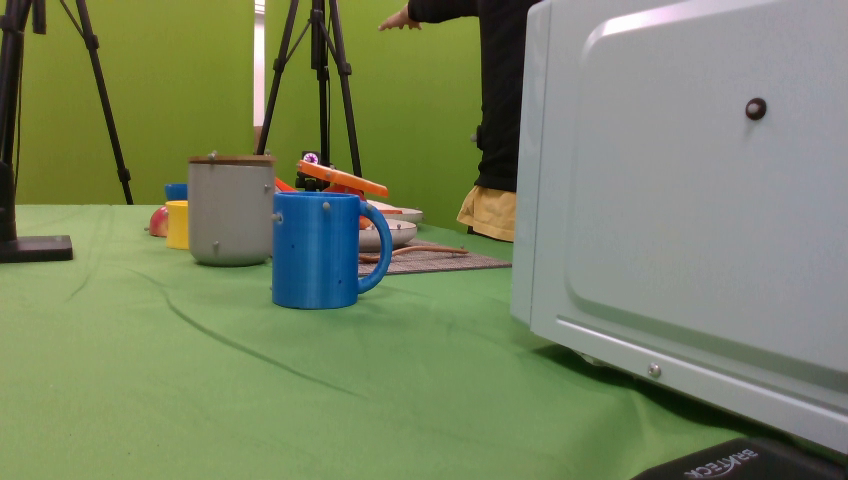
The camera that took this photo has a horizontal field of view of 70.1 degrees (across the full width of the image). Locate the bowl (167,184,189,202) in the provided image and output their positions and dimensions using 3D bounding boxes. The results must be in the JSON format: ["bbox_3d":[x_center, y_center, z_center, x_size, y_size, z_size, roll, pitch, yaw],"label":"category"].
[{"bbox_3d":[-0.408,-0.064,1.154,0.151,0.077,0.151,2,8,0],"label":"bowl"}]

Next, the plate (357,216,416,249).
[{"bbox_3d":[-0.116,-0.014,0.967,0.208,0.039,0.207,2,7,0],"label":"plate"}]

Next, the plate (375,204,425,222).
[{"bbox_3d":[-0.102,-0.053,1.299,0.209,0.038,0.209,2,8,0],"label":"plate"}]

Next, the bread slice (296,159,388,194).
[{"bbox_3d":[-0.132,-0.102,0.952,0.132,0.019,0.104,13,6,-36],"label":"bread slice"}]

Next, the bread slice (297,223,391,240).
[{"bbox_3d":[-0.121,-0.015,0.970,0.106,0.018,0.135,9,9,40],"label":"bread slice"}]

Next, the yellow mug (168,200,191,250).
[{"bbox_3d":[-0.320,-0.023,0.904,0.130,0.064,0.100,8,10,36],"label":"yellow mug"}]

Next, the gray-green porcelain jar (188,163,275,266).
[{"bbox_3d":[-0.246,-0.034,0.779,0.106,0.126,0.106,1,7,0],"label":"gray-green porcelain jar"}]

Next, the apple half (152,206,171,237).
[{"bbox_3d":[-0.415,-0.034,1.017,0.081,0.053,0.074,1,10,-8],"label":"apple half"}]

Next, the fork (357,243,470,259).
[{"bbox_3d":[-0.017,0.014,0.845,0.208,0.018,0.028,-5,-1,-35],"label":"fork"}]

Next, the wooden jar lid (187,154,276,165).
[{"bbox_3d":[-0.244,-0.097,0.771,0.108,0.020,0.108,-1,7,0],"label":"wooden jar lid"}]

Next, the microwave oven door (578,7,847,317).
[{"bbox_3d":[0.294,-0.067,0.570,0.358,0.243,0.039,-3,9,-31],"label":"microwave oven door"}]

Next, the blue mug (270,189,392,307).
[{"bbox_3d":[-0.090,0.005,0.588,0.117,0.106,0.082,1,7,-11],"label":"blue mug"}]

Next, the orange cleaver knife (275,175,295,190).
[{"bbox_3d":[-0.283,-0.087,1.343,0.212,0.077,0.012,23,-15,-41],"label":"orange cleaver knife"}]

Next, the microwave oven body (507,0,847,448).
[{"bbox_3d":[0.331,-0.042,0.425,0.444,0.260,0.324,-2,8,-31],"label":"microwave oven body"}]

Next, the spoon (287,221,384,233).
[{"bbox_3d":[-0.157,-0.027,1.110,0.195,0.021,0.041,-4,-14,-35],"label":"spoon"}]

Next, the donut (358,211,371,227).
[{"bbox_3d":[-0.129,-0.041,0.956,0.099,0.048,0.099,2,8,0],"label":"donut"}]

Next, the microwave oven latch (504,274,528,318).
[{"bbox_3d":[0.100,0.041,0.471,0.079,0.029,0.030,-1,7,-27],"label":"microwave oven latch"}]
